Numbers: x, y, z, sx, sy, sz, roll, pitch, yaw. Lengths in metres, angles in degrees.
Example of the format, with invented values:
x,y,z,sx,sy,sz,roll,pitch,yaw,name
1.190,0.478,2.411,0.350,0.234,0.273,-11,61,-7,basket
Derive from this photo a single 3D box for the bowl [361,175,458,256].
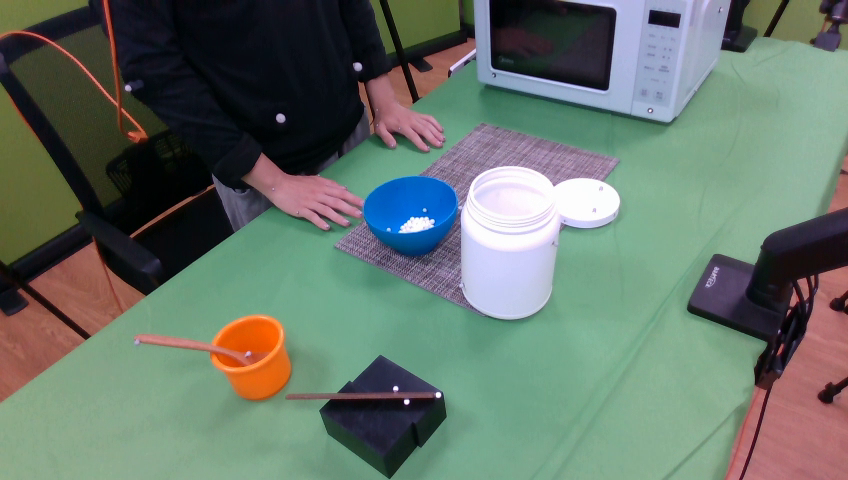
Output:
x,y,z,sx,sy,sz,roll,pitch,yaw,name
-0.018,-0.028,0.955,0.151,0.077,0.150,-4,40,4,bowl

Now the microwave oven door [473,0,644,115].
x,y,z,sx,sy,sz,roll,pitch,yaw,name
0.257,-0.396,1.199,0.353,0.245,0.039,21,48,29,microwave oven door

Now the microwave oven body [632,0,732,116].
x,y,z,sx,sy,sz,roll,pitch,yaw,name
0.377,-0.462,1.267,0.438,0.261,0.327,21,48,30,microwave oven body

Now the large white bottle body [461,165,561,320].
x,y,z,sx,sy,sz,roll,pitch,yaw,name
0.115,0.004,0.815,0.130,0.185,0.130,-2,43,2,large white bottle body

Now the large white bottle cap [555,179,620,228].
x,y,z,sx,sy,sz,roll,pitch,yaw,name
0.265,-0.062,1.001,0.115,0.018,0.114,-4,41,4,large white bottle cap

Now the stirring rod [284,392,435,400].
x,y,z,sx,sy,sz,roll,pitch,yaw,name
-0.075,0.180,0.698,0.176,0.006,0.014,-2,6,7,stirring rod

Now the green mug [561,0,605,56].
x,y,z,sx,sy,sz,roll,pitch,yaw,name
0.335,-0.450,1.293,0.092,0.105,0.125,8,49,23,green mug

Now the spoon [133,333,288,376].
x,y,z,sx,sy,sz,roll,pitch,yaw,name
-0.257,0.137,0.747,0.021,0.195,0.041,-47,40,22,spoon

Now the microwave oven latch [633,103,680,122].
x,y,z,sx,sy,sz,roll,pitch,yaw,name
0.444,-0.249,1.157,0.078,0.029,0.030,21,48,30,microwave oven latch
